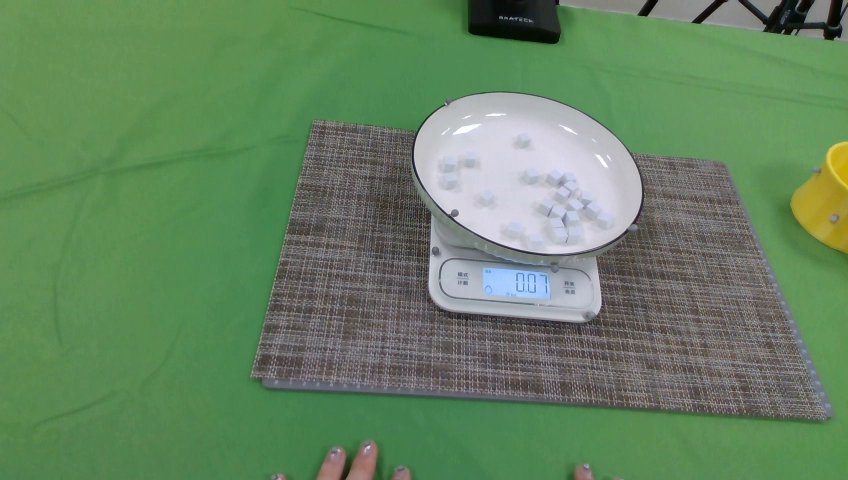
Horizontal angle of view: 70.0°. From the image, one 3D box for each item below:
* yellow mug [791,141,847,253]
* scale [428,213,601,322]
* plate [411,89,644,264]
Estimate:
[{"bbox_3d":[0.438,-0.031,0.601,0.100,0.064,0.129,4,51,-5],"label":"yellow mug"},{"bbox_3d":[0.081,-0.020,0.556,0.149,0.032,0.199,6,50,-4],"label":"scale"},{"bbox_3d":[0.090,-0.058,0.546,0.209,0.038,0.207,5,50,-5],"label":"plate"}]
